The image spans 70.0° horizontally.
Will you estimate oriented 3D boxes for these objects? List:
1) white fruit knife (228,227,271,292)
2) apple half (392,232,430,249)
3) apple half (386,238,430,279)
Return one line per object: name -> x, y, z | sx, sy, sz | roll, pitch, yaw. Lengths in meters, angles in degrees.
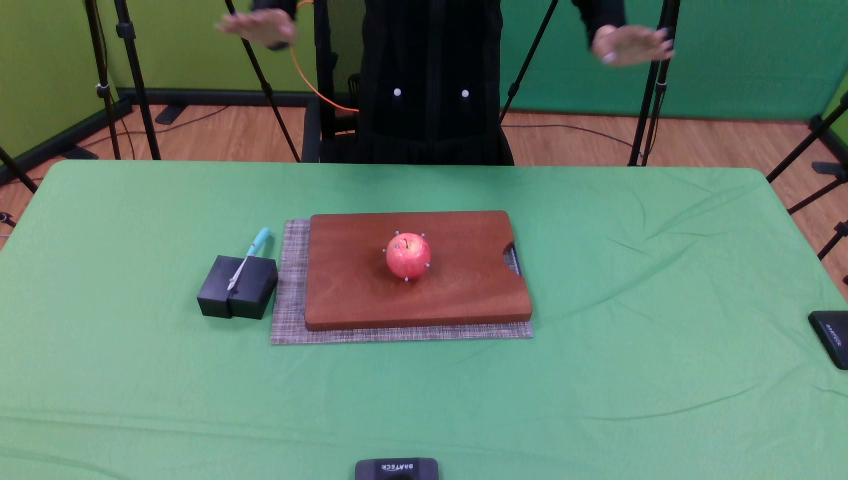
white fruit knife -> -0.318, 0.031, 1.107 | 0.016, 0.027, 0.206 | 5, 32, 3
apple half -> -0.025, 0.010, 1.110 | 0.081, 0.081, 0.032 | 8, 50, 4
apple half -> -0.032, 0.039, 1.084 | 0.081, 0.075, 0.053 | 11, 50, 1
